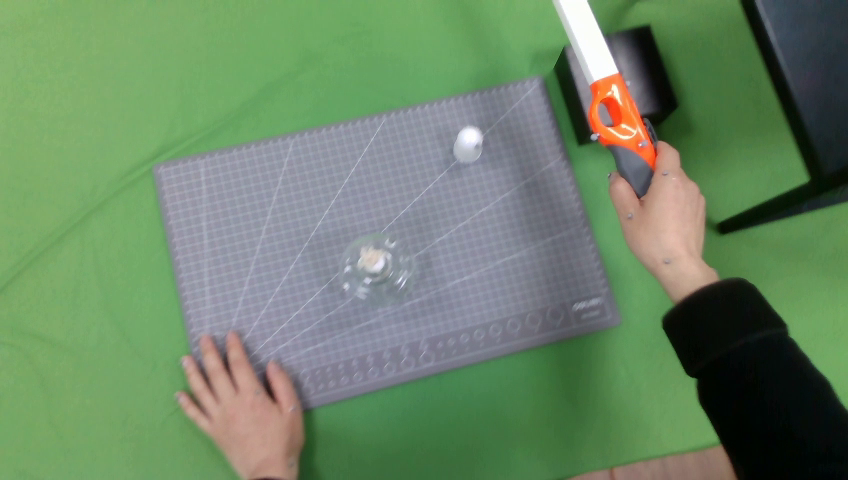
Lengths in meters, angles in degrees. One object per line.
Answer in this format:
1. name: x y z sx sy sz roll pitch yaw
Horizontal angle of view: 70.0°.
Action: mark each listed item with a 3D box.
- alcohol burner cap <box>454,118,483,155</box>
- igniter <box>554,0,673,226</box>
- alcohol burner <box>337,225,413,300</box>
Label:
1. alcohol burner cap: 0.050 -0.116 0.661 0.034 0.048 0.033 0 81 0
2. igniter: 0.171 -0.146 0.570 0.057 0.025 0.276 -22 89 -16
3. alcohol burner: -0.050 0.020 0.600 0.078 0.119 0.077 0 81 0
